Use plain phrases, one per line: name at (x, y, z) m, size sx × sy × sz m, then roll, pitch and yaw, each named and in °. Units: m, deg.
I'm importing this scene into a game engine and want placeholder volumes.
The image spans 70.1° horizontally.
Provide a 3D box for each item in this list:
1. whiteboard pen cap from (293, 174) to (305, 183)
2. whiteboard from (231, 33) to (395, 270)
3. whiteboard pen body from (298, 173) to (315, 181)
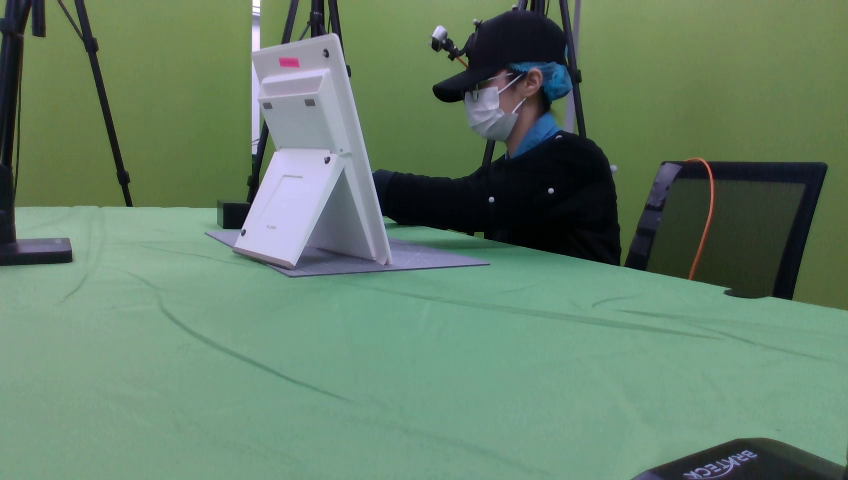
whiteboard pen cap at (-0.237, -0.117, 1.151) m, size 0.017 × 0.017 × 0.032 m, roll 2°, pitch 9°, yaw -1°
whiteboard at (-0.193, -0.094, 0.805) m, size 0.144 × 0.305 × 0.216 m, roll -28°, pitch 25°, yaw -35°
whiteboard pen body at (-0.236, -0.125, 1.208) m, size 0.017 × 0.017 × 0.140 m, roll 2°, pitch 6°, yaw -1°
